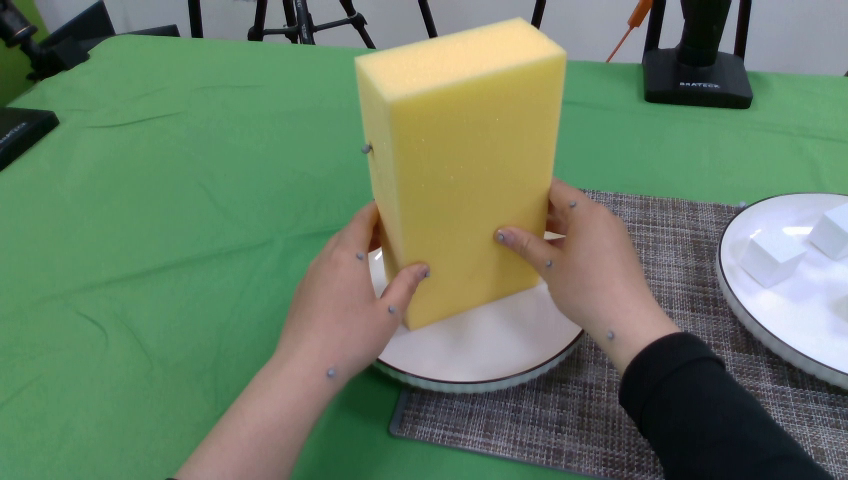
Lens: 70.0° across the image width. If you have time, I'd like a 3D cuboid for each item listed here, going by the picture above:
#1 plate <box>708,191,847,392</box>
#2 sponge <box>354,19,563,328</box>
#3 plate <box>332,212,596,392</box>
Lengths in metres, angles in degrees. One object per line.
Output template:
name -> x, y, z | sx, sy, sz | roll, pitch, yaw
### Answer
plate -> 0.329, 0.041, 0.471 | 0.207, 0.039, 0.205 | -2, 43, 2
sponge -> 0.024, -0.038, 0.440 | 0.118, 0.209, 0.060 | -17, 46, -15
plate -> 0.032, 0.040, 0.493 | 0.209, 0.038, 0.207 | -2, 42, 2
